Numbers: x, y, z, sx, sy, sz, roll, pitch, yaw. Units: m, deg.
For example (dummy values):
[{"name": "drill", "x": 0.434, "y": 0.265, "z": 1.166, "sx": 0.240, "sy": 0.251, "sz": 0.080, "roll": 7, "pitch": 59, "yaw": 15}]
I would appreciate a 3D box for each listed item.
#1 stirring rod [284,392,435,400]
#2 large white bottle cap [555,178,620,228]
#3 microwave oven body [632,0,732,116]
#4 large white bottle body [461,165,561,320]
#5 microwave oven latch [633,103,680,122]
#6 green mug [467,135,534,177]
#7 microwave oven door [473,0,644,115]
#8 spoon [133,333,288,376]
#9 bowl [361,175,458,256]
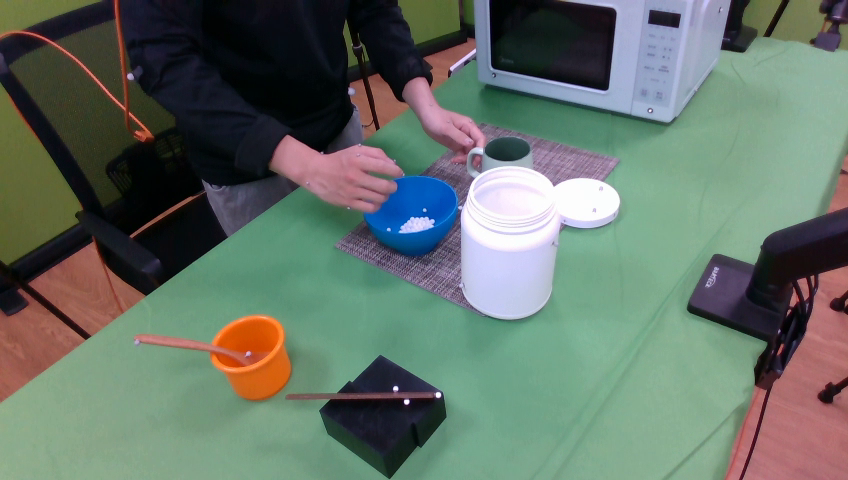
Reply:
[{"name": "stirring rod", "x": -0.075, "y": 0.180, "z": 0.697, "sx": 0.176, "sy": 0.006, "sz": 0.014, "roll": -2, "pitch": 6, "yaw": 6}, {"name": "large white bottle cap", "x": 0.265, "y": -0.063, "z": 1.001, "sx": 0.115, "sy": 0.018, "sz": 0.114, "roll": -3, "pitch": 42, "yaw": 3}, {"name": "microwave oven body", "x": 0.377, "y": -0.462, "z": 1.267, "sx": 0.438, "sy": 0.261, "sz": 0.327, "roll": 21, "pitch": 48, "yaw": 30}, {"name": "large white bottle body", "x": 0.115, "y": 0.004, "z": 0.815, "sx": 0.130, "sy": 0.185, "sz": 0.130, "roll": -2, "pitch": 43, "yaw": 2}, {"name": "microwave oven latch", "x": 0.444, "y": -0.249, "z": 1.157, "sx": 0.078, "sy": 0.029, "sz": 0.030, "roll": 21, "pitch": 48, "yaw": 30}, {"name": "green mug", "x": 0.126, "y": -0.114, "z": 1.014, "sx": 0.124, "sy": 0.105, "sz": 0.093, "roll": 22, "pitch": 49, "yaw": 29}, {"name": "microwave oven door", "x": 0.257, "y": -0.396, "z": 1.199, "sx": 0.353, "sy": 0.245, "sz": 0.039, "roll": 21, "pitch": 48, "yaw": 29}, {"name": "spoon", "x": -0.257, "y": 0.137, "z": 0.747, "sx": 0.021, "sy": 0.195, "sz": 0.041, "roll": -47, "pitch": 40, "yaw": 23}, {"name": "bowl", "x": -0.019, "y": -0.029, "z": 0.955, "sx": 0.151, "sy": 0.077, "sz": 0.150, "roll": -4, "pitch": 40, "yaw": 3}]
